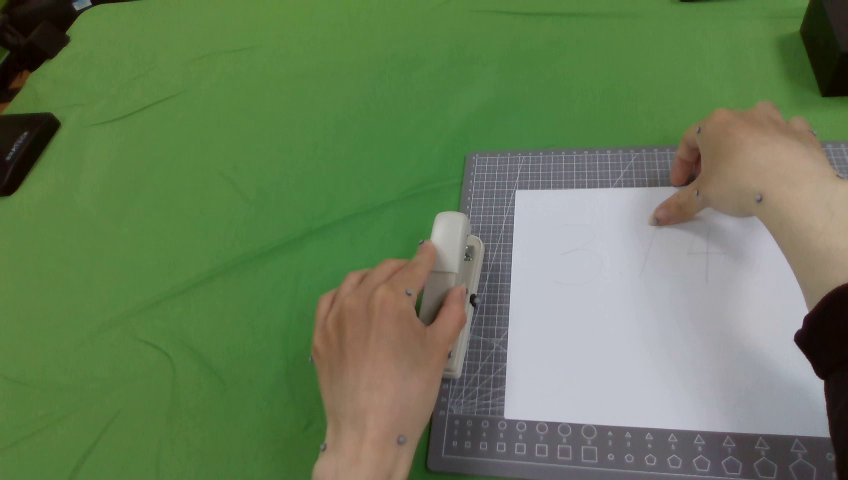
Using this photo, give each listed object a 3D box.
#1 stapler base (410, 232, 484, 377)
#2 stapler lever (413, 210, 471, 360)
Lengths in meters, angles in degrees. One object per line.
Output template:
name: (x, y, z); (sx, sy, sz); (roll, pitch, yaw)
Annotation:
stapler base: (0.019, 0.043, 0.478); (0.041, 0.025, 0.129); (3, 57, 16)
stapler lever: (0.014, 0.030, 0.457); (0.027, 0.040, 0.117); (3, 57, 17)
